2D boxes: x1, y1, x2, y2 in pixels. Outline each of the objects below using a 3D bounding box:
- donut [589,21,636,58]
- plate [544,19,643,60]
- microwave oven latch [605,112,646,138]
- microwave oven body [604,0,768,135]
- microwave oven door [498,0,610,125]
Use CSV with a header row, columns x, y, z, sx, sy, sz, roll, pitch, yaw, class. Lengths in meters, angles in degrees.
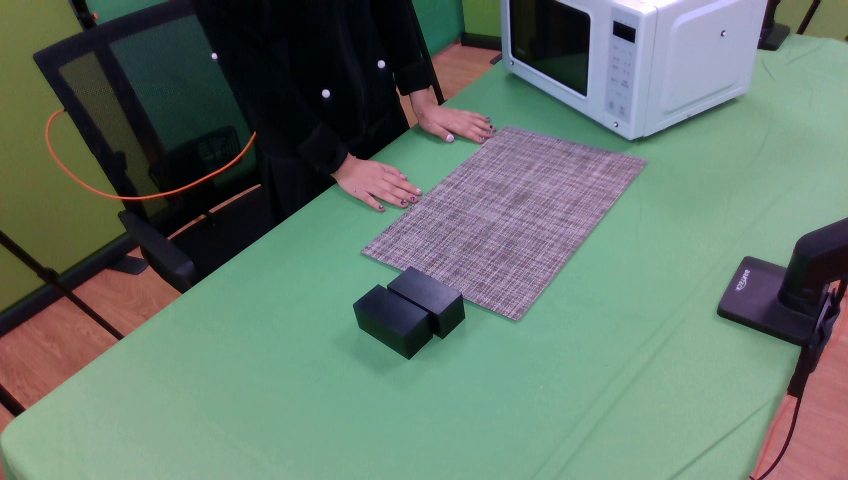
x,y,z,sx,sy,sz,roll,pitch,yaw,class
0.402,-0.429,1.295,0.099,0.048,0.098,2,53,-2,donut
0.359,-0.427,1.292,0.209,0.038,0.208,0,35,0,plate
0.375,-0.217,1.130,0.030,0.029,0.078,-25,42,-16,microwave oven latch
0.411,-0.441,1.235,0.327,0.261,0.437,-25,42,-16,microwave oven body
0.261,-0.410,1.219,0.039,0.245,0.352,-24,42,-17,microwave oven door
